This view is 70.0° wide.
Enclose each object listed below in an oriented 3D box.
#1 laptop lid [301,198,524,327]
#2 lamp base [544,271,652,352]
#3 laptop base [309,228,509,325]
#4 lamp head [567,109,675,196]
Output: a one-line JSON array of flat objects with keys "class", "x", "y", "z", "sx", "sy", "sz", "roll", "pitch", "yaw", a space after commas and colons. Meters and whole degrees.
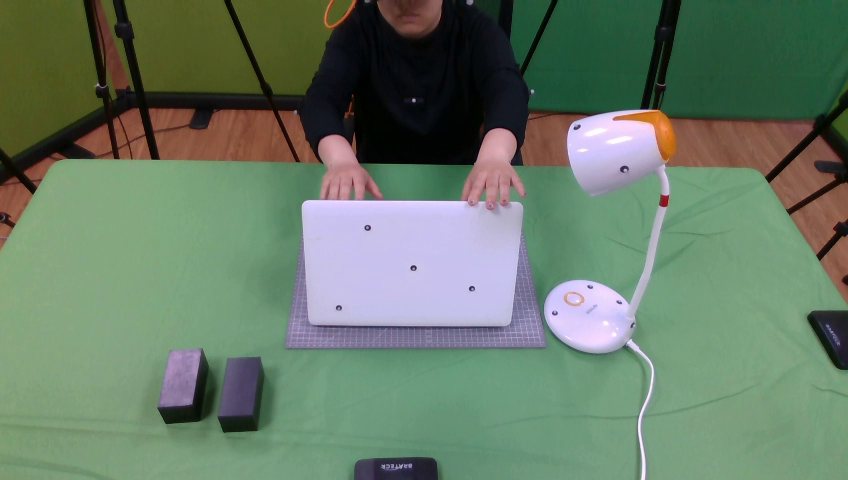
[{"class": "laptop lid", "x": -0.020, "y": 0.043, "z": 0.995, "sx": 0.357, "sy": 0.242, "sz": 0.013, "roll": 2, "pitch": 26, "yaw": -5}, {"class": "lamp base", "x": 0.310, "y": 0.086, "z": 1.029, "sx": 0.178, "sy": 0.181, "sz": 0.160, "roll": 32, "pitch": 52, "yaw": 21}, {"class": "laptop base", "x": -0.028, "y": 0.066, "z": 1.134, "sx": 0.355, "sy": 0.023, "sz": 0.234, "roll": 1, "pitch": 43, "yaw": -4}, {"class": "lamp head", "x": 0.272, "y": -0.123, "z": 0.818, "sx": 0.122, "sy": 0.113, "sz": 0.112, "roll": -9, "pitch": 35, "yaw": 37}]
